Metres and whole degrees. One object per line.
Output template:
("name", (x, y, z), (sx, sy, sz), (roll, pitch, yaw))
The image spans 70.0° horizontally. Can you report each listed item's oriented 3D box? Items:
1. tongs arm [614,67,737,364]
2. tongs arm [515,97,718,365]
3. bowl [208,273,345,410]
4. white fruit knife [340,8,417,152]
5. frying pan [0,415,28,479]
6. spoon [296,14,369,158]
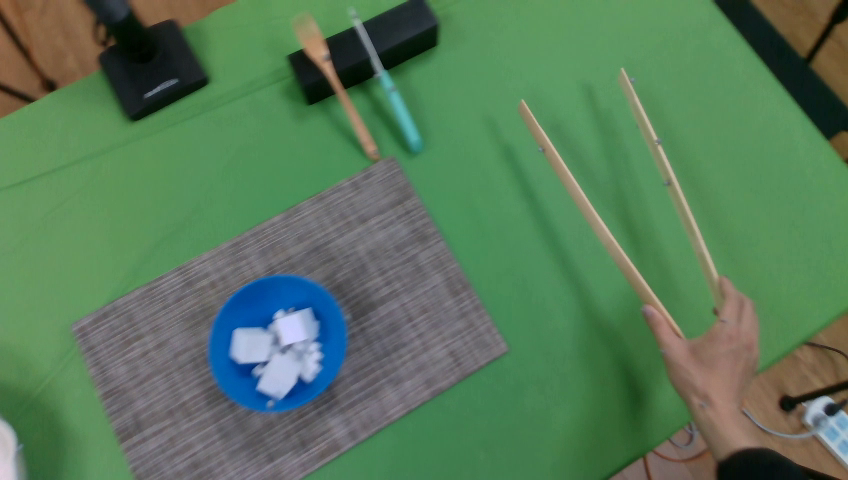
("tongs arm", (0.284, -0.044, 0.724), (0.051, 0.027, 0.381), (-14, 69, -8))
("tongs arm", (0.211, -0.020, 0.713), (0.028, 0.028, 0.384), (-25, 70, -15))
("bowl", (-0.162, 0.120, 0.702), (0.151, 0.077, 0.150), (0, 74, -1))
("white fruit knife", (-0.062, -0.211, 0.796), (0.016, 0.027, 0.207), (-29, 92, -13))
("frying pan", (-0.517, 0.373, 0.618), (0.307, 0.103, 0.484), (-31, 69, -8))
("spoon", (-0.116, -0.197, 0.785), (0.041, 0.021, 0.194), (-20, 97, 16))
